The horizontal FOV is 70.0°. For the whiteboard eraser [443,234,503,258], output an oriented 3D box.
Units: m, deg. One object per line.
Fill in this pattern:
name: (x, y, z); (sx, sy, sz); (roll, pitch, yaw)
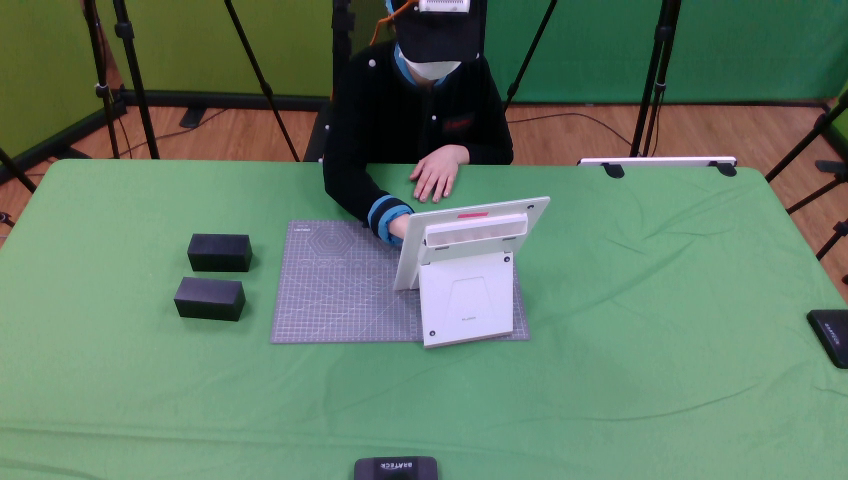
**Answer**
whiteboard eraser: (0.083, 0.010, 1.037); (0.101, 0.041, 0.018); (-13, 65, 10)

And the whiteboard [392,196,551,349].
whiteboard: (0.077, 0.071, 0.977); (0.217, 0.306, 0.143); (-7, 67, -11)
